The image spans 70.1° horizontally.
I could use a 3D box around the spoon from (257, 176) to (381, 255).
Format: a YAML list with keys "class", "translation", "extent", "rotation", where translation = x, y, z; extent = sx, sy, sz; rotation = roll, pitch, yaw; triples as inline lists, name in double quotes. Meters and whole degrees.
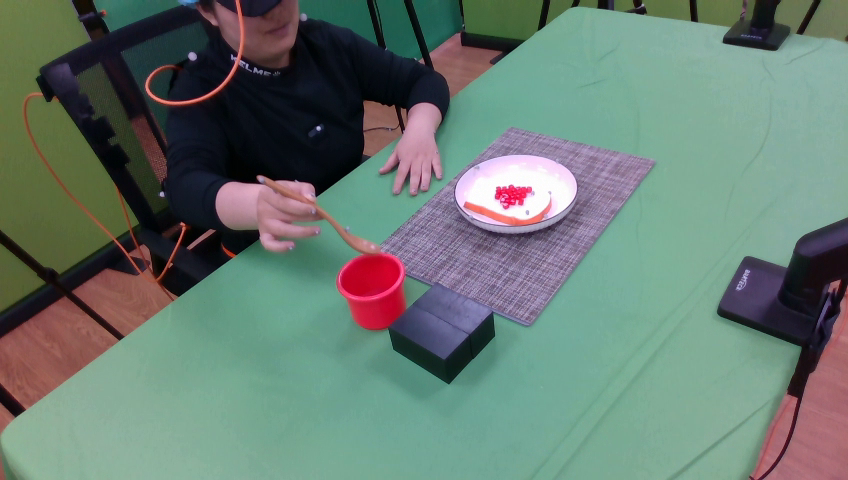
- class: "spoon"
  translation: [-0.132, -0.031, 0.784]
  extent: [0.021, 0.195, 0.041]
  rotation: [-46, 33, 9]

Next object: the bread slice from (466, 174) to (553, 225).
- class: "bread slice"
  translation: [0.152, -0.067, 1.022]
  extent: [0.130, 0.019, 0.105]
  rotation: [22, 50, 34]

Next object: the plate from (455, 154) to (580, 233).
- class: "plate"
  translation: [0.158, -0.076, 1.028]
  extent: [0.209, 0.038, 0.208]
  rotation: [-5, 40, 5]
